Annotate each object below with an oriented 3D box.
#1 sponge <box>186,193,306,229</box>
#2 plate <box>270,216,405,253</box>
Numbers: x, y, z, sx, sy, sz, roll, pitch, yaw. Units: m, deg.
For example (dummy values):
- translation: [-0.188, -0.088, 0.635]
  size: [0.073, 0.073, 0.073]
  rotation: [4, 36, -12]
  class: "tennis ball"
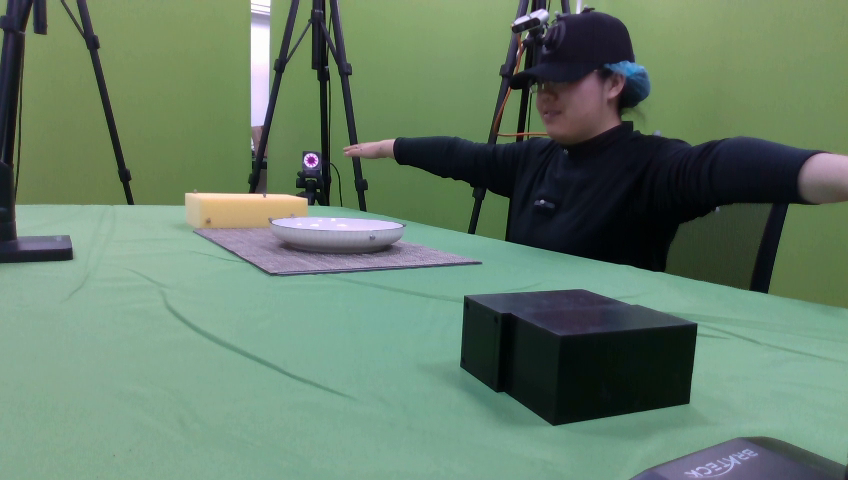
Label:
- translation: [-0.350, -0.059, 1.194]
  size: [0.208, 0.061, 0.117]
  rotation: [-3, 9, -34]
  class: "sponge"
- translation: [-0.134, -0.010, 0.946]
  size: [0.208, 0.039, 0.207]
  rotation: [3, 7, 0]
  class: "plate"
